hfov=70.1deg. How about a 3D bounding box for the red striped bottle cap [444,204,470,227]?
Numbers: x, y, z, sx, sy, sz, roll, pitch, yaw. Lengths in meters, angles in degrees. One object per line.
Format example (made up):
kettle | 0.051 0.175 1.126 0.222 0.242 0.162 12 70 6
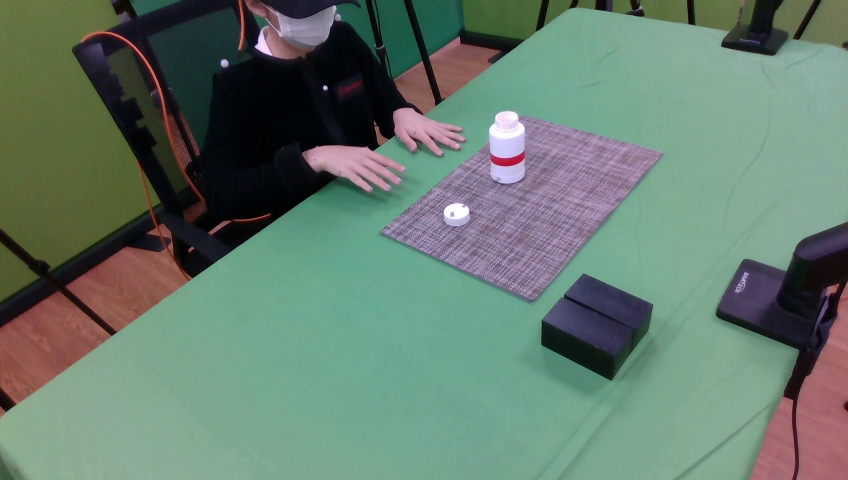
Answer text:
red striped bottle cap | 0.055 -0.042 1.016 0.044 0.018 0.044 -2 42 2

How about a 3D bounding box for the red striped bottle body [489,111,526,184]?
red striped bottle body | 0.147 -0.164 1.064 0.063 0.120 0.062 -5 39 4
